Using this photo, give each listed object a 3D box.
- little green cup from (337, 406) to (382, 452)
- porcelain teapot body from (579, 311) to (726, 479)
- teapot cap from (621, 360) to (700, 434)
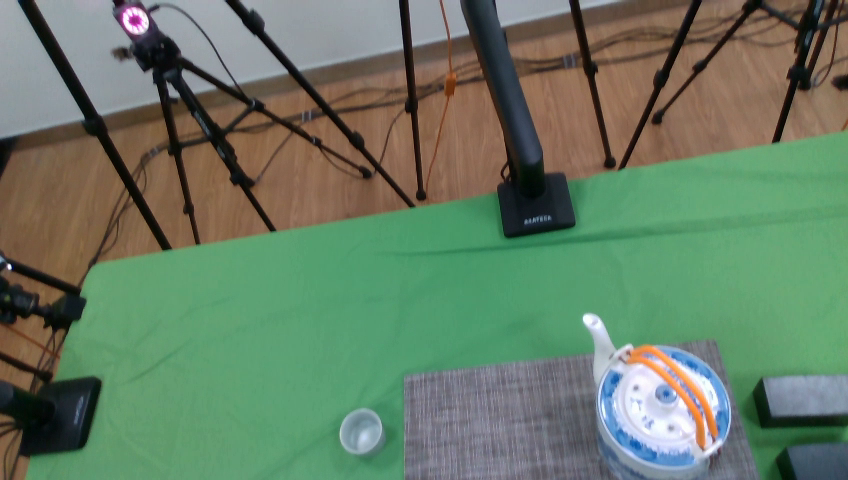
[{"bbox_3d":[-0.090,0.273,0.866,0.061,0.039,0.061,-7,55,11],"label":"little green cup"},{"bbox_3d":[0.254,0.176,0.722,0.145,0.228,0.203,-36,55,-10],"label":"porcelain teapot body"},{"bbox_3d":[0.262,0.171,0.673,0.085,0.044,0.084,-7,53,10],"label":"teapot cap"}]
